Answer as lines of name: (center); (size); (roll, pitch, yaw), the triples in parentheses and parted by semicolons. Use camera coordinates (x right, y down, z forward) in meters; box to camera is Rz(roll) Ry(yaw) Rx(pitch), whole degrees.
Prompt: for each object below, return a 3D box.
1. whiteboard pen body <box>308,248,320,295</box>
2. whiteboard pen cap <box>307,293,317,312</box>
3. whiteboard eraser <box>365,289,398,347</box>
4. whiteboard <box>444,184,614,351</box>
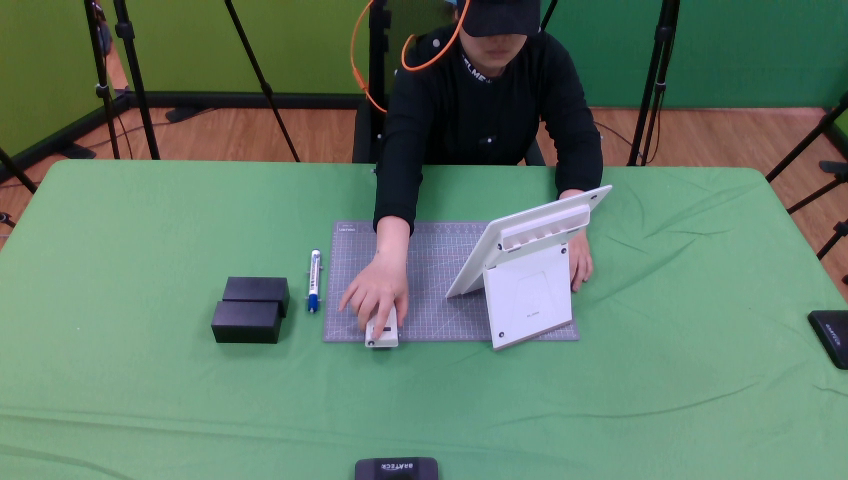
whiteboard pen body: (-0.204, 0.069, 1.119); (0.017, 0.017, 0.140); (-1, 46, -5)
whiteboard pen cap: (-0.199, 0.110, 1.078); (0.018, 0.018, 0.033); (-2, 47, -6)
whiteboard eraser: (-0.073, 0.136, 1.043); (0.056, 0.042, 0.112); (2, 44, -7)
whiteboard: (0.186, 0.065, 0.990); (0.217, 0.306, 0.143); (-16, 69, -19)
